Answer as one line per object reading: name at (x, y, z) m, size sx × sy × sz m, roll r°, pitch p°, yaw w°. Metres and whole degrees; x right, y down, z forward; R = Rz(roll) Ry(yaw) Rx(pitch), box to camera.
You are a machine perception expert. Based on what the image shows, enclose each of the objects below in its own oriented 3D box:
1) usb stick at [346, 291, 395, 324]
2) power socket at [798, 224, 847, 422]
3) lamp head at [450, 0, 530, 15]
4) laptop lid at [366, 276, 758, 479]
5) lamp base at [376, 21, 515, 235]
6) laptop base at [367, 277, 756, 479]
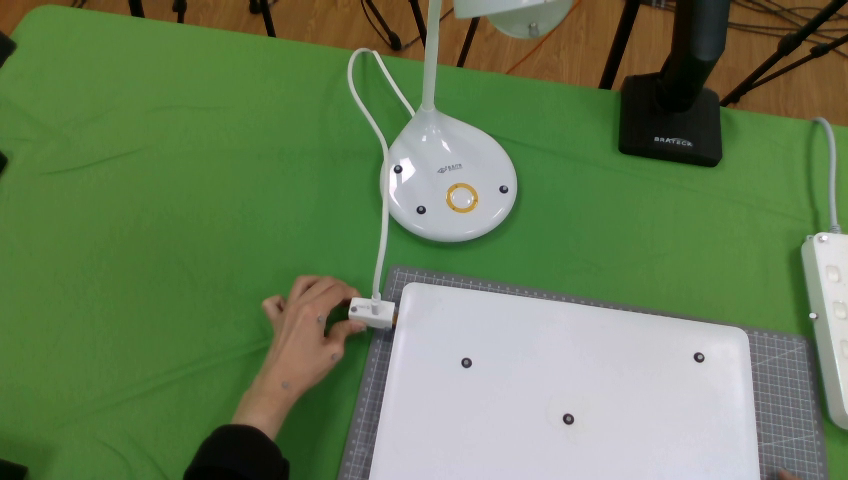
usb stick at (-0.048, 0.069, 0.611) m, size 0.059 × 0.027 × 0.021 m, roll 10°, pitch 57°, yaw -3°
power socket at (0.441, 0.083, 0.625) m, size 0.072 × 0.033 × 0.225 m, roll 8°, pitch 62°, yaw 1°
lamp head at (0.058, -0.209, 0.369) m, size 0.112 × 0.111 × 0.123 m, roll -19°, pitch 108°, yaw -10°
laptop lid at (0.134, 0.163, 0.570) m, size 0.356 × 0.013 × 0.240 m, roll 9°, pitch 66°, yaw 3°
lamp base at (0.020, -0.122, 0.637) m, size 0.161 × 0.181 × 0.177 m, roll -26°, pitch 63°, yaw -14°
laptop base at (0.134, 0.166, 0.582) m, size 0.354 × 0.023 × 0.234 m, roll 7°, pitch 66°, yaw 2°
